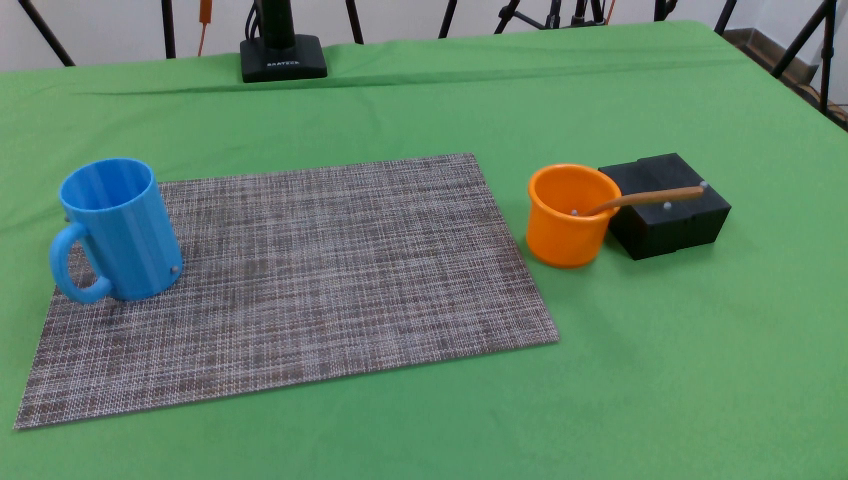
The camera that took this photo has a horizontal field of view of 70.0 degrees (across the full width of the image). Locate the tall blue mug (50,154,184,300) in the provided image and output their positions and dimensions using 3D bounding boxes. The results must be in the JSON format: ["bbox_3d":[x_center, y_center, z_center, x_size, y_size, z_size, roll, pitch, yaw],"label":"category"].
[{"bbox_3d":[-0.270,-0.002,0.540,0.078,0.109,0.106,-1,43,-5],"label":"tall blue mug"}]

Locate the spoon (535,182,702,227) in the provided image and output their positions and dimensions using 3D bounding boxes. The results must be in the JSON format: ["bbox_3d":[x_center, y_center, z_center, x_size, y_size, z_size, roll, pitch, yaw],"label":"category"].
[{"bbox_3d":[0.175,-0.034,0.576,0.042,0.193,0.021,-25,93,-30],"label":"spoon"}]
